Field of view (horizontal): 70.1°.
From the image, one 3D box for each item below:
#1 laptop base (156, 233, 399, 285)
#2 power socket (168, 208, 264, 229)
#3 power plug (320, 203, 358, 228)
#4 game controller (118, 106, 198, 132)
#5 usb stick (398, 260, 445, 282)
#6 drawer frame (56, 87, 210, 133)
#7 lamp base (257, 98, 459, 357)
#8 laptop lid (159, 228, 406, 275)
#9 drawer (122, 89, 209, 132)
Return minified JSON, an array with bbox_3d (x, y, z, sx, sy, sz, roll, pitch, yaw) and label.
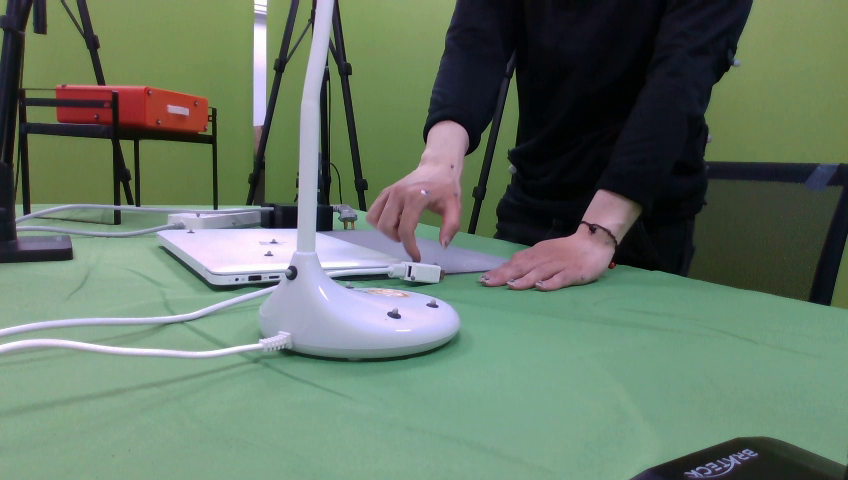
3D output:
[{"bbox_3d":[-0.204,0.019,0.806,0.237,0.023,0.352,0,7,-33],"label":"laptop base"},{"bbox_3d":[-0.381,-0.038,1.128,0.072,0.032,0.227,4,8,16],"label":"power socket"},{"bbox_3d":[-0.170,-0.047,1.210,0.073,0.052,0.035,-5,-14,-6],"label":"power plug"},{"bbox_3d":[-0.555,-0.252,1.255,0.097,0.051,0.155,7,11,18],"label":"game controller"},{"bbox_3d":[0.000,0.036,0.696,0.027,0.021,0.059,7,-1,42],"label":"usb stick"},{"bbox_3d":[-0.598,-0.269,1.261,0.213,0.082,0.202,4,8,14],"label":"drawer frame"},{"bbox_3d":[-0.055,-0.014,0.463,0.160,0.180,0.180,6,11,27],"label":"lamp base"},{"bbox_3d":[-0.201,0.007,0.806,0.243,0.013,0.355,-1,8,-31],"label":"laptop lid"},{"bbox_3d":[-0.595,-0.268,1.263,0.211,0.073,0.195,4,8,15],"label":"drawer"}]
